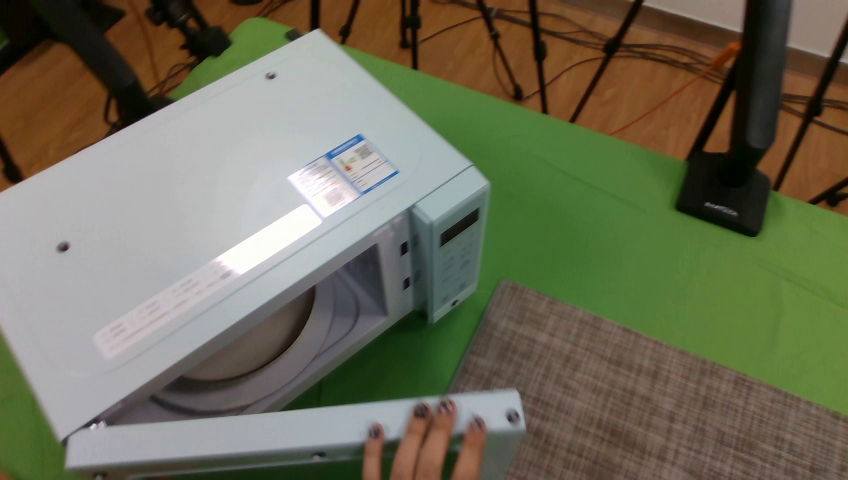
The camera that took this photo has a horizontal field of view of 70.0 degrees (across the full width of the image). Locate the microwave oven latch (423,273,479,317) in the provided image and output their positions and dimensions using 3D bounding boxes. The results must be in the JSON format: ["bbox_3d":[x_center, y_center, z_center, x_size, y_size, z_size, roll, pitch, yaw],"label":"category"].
[{"bbox_3d":[0.035,0.063,0.779,0.079,0.030,0.030,-35,65,-19],"label":"microwave oven latch"}]

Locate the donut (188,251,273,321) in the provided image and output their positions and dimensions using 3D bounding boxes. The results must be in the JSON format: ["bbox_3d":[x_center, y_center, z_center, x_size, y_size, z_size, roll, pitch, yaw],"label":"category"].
[{"bbox_3d":[-0.229,0.055,0.721,0.099,0.048,0.098,4,44,-3],"label":"donut"}]

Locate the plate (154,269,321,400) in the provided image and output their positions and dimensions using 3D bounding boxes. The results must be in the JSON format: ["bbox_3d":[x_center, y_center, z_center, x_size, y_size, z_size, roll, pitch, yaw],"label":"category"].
[{"bbox_3d":[-0.219,0.089,0.700,0.209,0.038,0.207,-3,54,4],"label":"plate"}]

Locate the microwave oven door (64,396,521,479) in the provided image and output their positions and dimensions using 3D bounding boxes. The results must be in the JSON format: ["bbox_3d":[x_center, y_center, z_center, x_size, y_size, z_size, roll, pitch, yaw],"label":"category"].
[{"bbox_3d":[-0.098,0.207,0.571,0.356,0.246,0.039,-4,58,-3],"label":"microwave oven door"}]

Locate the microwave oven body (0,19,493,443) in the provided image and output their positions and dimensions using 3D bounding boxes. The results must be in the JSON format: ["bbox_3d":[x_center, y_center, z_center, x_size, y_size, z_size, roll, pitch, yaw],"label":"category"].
[{"bbox_3d":[-0.197,0.011,0.695,0.441,0.262,0.323,-36,66,-19],"label":"microwave oven body"}]
